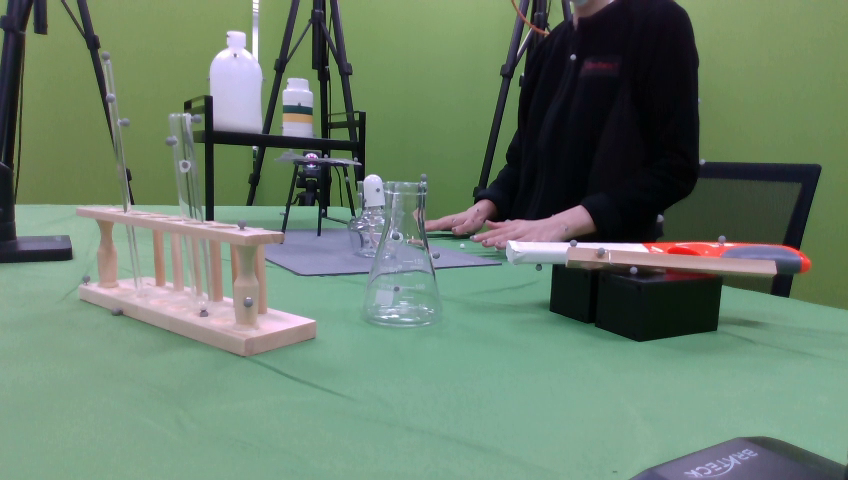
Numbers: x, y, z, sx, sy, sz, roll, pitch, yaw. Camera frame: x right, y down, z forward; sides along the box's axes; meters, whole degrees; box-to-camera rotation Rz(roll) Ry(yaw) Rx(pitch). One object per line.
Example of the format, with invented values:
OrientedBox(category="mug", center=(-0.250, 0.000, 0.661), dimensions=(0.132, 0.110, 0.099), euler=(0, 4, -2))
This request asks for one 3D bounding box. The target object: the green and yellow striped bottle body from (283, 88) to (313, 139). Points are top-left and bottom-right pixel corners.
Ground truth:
OrientedBox(category="green and yellow striped bottle body", center=(-0.266, -0.275, 1.275), dimensions=(0.063, 0.119, 0.063), euler=(3, 7, 0))

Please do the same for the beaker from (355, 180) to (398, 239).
OrientedBox(category="beaker", center=(-0.083, -0.055, 1.083), dimensions=(0.083, 0.100, 0.074), euler=(8, 9, 31))

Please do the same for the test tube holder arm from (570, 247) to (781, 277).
OrientedBox(category="test tube holder arm", center=(0.217, 0.019, 0.524), dimensions=(0.178, 0.015, 0.013), euler=(3, -23, 3))

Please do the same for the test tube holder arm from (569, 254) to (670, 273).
OrientedBox(category="test tube holder arm", center=(0.172, 0.019, 0.532), dimensions=(0.088, 0.015, 0.010), euler=(3, -23, 4))

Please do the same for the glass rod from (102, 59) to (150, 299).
OrientedBox(category="glass rod", center=(-0.244, -0.045, 0.496), dimensions=(0.008, 0.199, 0.008), euler=(-3, 13, 1))

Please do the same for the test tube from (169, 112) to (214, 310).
OrientedBox(category="test tube", center=(-0.175, -0.020, 0.455), dimensions=(0.017, 0.150, 0.017), euler=(-3, 9, 1))

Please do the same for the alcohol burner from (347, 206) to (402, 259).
OrientedBox(category="alcohol burner", center=(-0.071, -0.034, 0.867), dimensions=(0.078, 0.119, 0.078), euler=(0, 7, 0))

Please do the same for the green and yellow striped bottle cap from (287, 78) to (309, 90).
OrientedBox(category="green and yellow striped bottle cap", center=(-0.264, -0.326, 1.268), dimensions=(0.045, 0.020, 0.045), euler=(4, 6, 0))

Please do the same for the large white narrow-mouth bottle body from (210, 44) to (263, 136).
OrientedBox(category="large white narrow-mouth bottle body", center=(-0.369, -0.305, 1.194), dimensions=(0.102, 0.194, 0.102), euler=(3, 8, 0))

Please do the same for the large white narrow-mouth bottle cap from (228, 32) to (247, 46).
OrientedBox(category="large white narrow-mouth bottle cap", center=(-0.364, -0.390, 1.180), dimensions=(0.038, 0.024, 0.037), euler=(3, 8, 0))

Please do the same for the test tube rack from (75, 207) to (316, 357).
OrientedBox(category="test tube rack", center=(-0.196, 0.023, 0.500), dimensions=(0.241, 0.085, 0.067), euler=(8, 9, 36))

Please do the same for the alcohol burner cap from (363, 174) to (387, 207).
OrientedBox(category="alcohol burner cap", center=(-0.072, -0.070, 0.861), dimensions=(0.034, 0.048, 0.034), euler=(-7, 7, 1))

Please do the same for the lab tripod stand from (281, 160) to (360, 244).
OrientedBox(category="lab tripod stand", center=(-0.170, -0.063, 0.983), dimensions=(0.148, 0.131, 0.148), euler=(1, 6, 0))

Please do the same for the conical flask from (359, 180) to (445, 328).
OrientedBox(category="conical flask", center=(-0.017, 0.010, 0.522), dimensions=(0.075, 0.122, 0.075), euler=(2, 7, 0))

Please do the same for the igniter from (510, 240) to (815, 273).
OrientedBox(category="igniter", center=(0.220, 0.015, 0.565), dimensions=(0.277, 0.025, 0.057), euler=(2, 16, 0))

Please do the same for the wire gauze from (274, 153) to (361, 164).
OrientedBox(category="wire gauze", center=(-0.174, -0.130, 0.978), dimensions=(0.125, 0.011, 0.121), euler=(1, 6, -19))
